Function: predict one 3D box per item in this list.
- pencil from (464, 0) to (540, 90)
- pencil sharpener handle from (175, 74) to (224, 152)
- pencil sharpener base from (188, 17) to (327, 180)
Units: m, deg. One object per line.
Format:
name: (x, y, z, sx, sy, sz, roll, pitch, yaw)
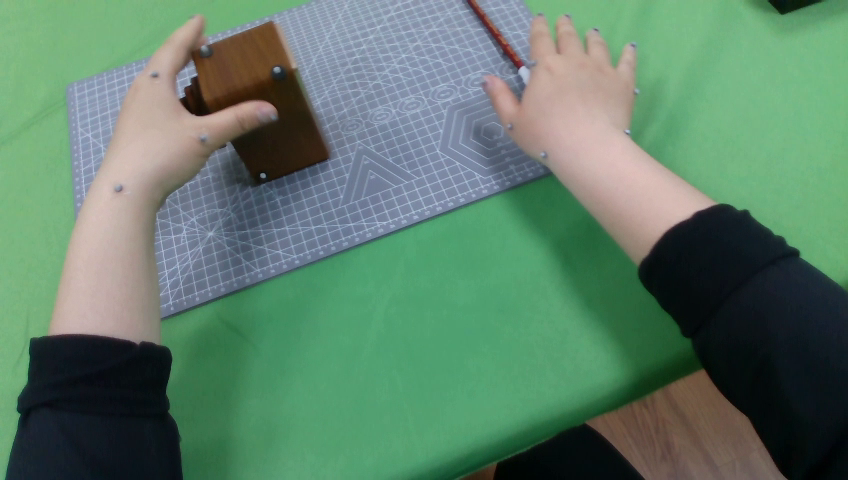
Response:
pencil: (0.058, -0.206, 0.574, 0.012, 0.012, 0.192, -25, 60, -7)
pencil sharpener handle: (-0.181, -0.095, 0.472, 0.030, 0.068, 0.035, -23, 61, -5)
pencil sharpener base: (-0.132, -0.109, 0.487, 0.077, 0.108, 0.061, -23, 60, -5)
